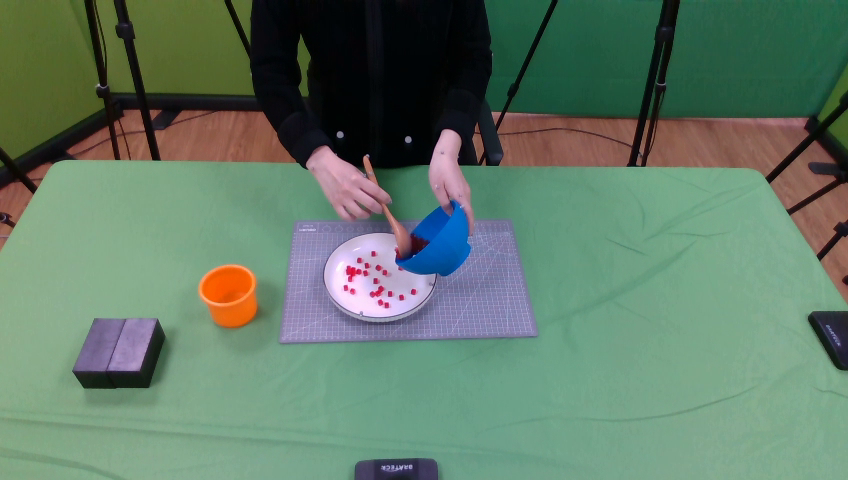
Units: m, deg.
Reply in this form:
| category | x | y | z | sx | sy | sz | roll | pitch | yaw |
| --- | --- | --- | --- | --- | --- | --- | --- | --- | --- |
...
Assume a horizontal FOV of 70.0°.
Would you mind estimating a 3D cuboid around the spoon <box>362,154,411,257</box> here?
| category | x | y | z | sx | sy | sz | roll | pitch | yaw |
| --- | --- | --- | --- | --- | --- | --- | --- | --- | --- |
| spoon | -0.066 | -0.056 | 1.035 | 0.021 | 0.194 | 0.041 | -12 | 23 | 40 |

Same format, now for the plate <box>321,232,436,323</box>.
| category | x | y | z | sx | sy | sz | roll | pitch | yaw |
| --- | --- | --- | --- | --- | --- | --- | --- | --- | --- |
| plate | -0.083 | 0.070 | 1.109 | 0.209 | 0.038 | 0.208 | 3 | 46 | -3 |

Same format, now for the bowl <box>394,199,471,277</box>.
| category | x | y | z | sx | sy | sz | roll | pitch | yaw |
| --- | --- | --- | --- | --- | --- | --- | --- | --- | --- |
| bowl | 0.027 | 0.010 | 1.039 | 0.077 | 0.151 | 0.151 | 44 | 48 | -14 |
